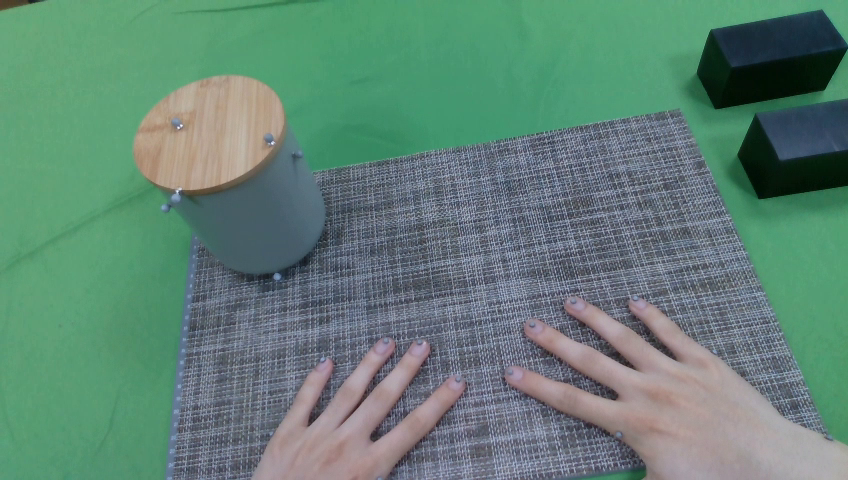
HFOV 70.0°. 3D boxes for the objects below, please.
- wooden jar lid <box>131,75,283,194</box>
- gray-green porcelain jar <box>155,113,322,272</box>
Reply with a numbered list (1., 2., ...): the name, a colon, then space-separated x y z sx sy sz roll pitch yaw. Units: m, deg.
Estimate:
1. wooden jar lid: -0.153 -0.074 0.435 0.108 0.021 0.107 -2 59 4
2. gray-green porcelain jar: -0.144 -0.042 0.487 0.106 0.128 0.105 -4 58 6
